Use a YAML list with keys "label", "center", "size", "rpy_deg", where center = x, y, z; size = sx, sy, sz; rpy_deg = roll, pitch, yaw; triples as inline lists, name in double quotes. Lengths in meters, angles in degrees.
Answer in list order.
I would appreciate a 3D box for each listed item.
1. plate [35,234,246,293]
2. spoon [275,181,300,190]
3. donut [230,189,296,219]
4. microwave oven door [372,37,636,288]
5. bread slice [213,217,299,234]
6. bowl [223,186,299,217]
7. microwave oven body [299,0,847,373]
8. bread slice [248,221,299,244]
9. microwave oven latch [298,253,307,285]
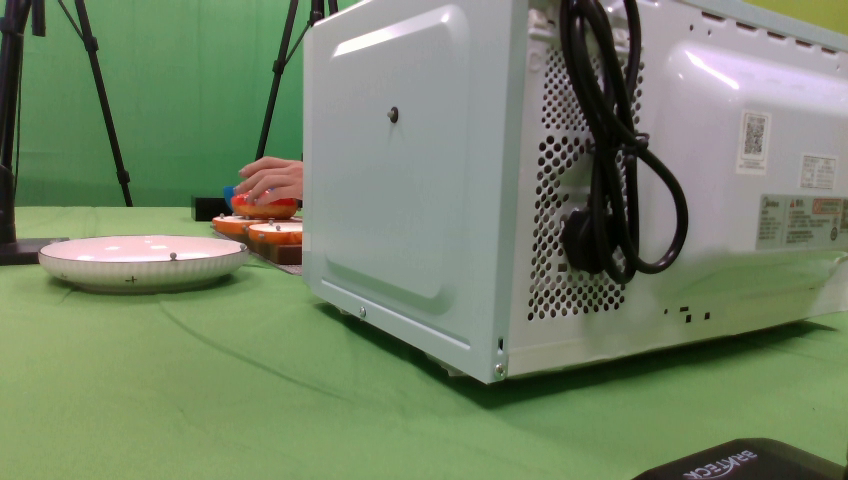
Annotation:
- label: "plate"
  center: [-0.305, 0.026, 0.668]
  size: [0.208, 0.039, 0.207]
  rpy_deg: [3, 7, 0]
- label: "spoon"
  center: [-0.301, -0.101, 1.260]
  size: [0.041, 0.021, 0.194]
  rpy_deg: [13, 30, 33]
- label: "donut"
  center: [-0.250, -0.055, 0.941]
  size: [0.099, 0.048, 0.099]
  rpy_deg: [3, 7, 0]
- label: "microwave oven door"
  center: [0.110, -0.080, 0.687]
  size: [0.358, 0.243, 0.039]
  rpy_deg: [-2, 9, -33]
- label: "bread slice"
  center: [-0.256, -0.025, 0.936]
  size: [0.132, 0.019, 0.104]
  rpy_deg: [-4, 8, -40]
- label: "bowl"
  center: [-0.330, -0.068, 1.230]
  size: [0.151, 0.077, 0.151]
  rpy_deg: [3, 7, 0]
- label: "microwave oven body"
  center: [0.151, -0.055, 0.542]
  size: [0.444, 0.260, 0.324]
  rpy_deg: [-2, 7, -33]
- label: "bread slice"
  center: [-0.174, -0.012, 0.844]
  size: [0.106, 0.018, 0.135]
  rpy_deg: [10, 11, 44]
- label: "microwave oven latch"
  center: [-0.081, 0.027, 0.582]
  size: [0.079, 0.029, 0.030]
  rpy_deg: [-1, 7, -32]
